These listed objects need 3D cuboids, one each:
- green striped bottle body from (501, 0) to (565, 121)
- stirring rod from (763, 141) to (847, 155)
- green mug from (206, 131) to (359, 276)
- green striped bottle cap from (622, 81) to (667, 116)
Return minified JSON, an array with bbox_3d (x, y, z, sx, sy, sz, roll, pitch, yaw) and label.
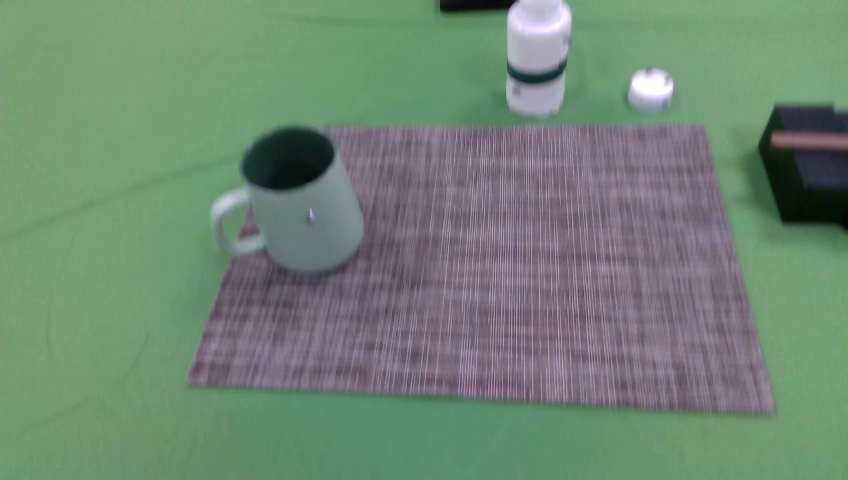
[{"bbox_3d":[0.111,-0.188,0.624,0.063,0.120,0.062,-3,51,4],"label":"green striped bottle body"},{"bbox_3d":[0.383,-0.078,0.516,0.176,0.006,0.014,2,53,8],"label":"stirring rod"},{"bbox_3d":[-0.122,-0.022,0.522,0.125,0.106,0.091,-25,53,-13],"label":"green mug"},{"bbox_3d":[0.236,-0.151,0.648,0.044,0.020,0.044,-3,47,4],"label":"green striped bottle cap"}]
